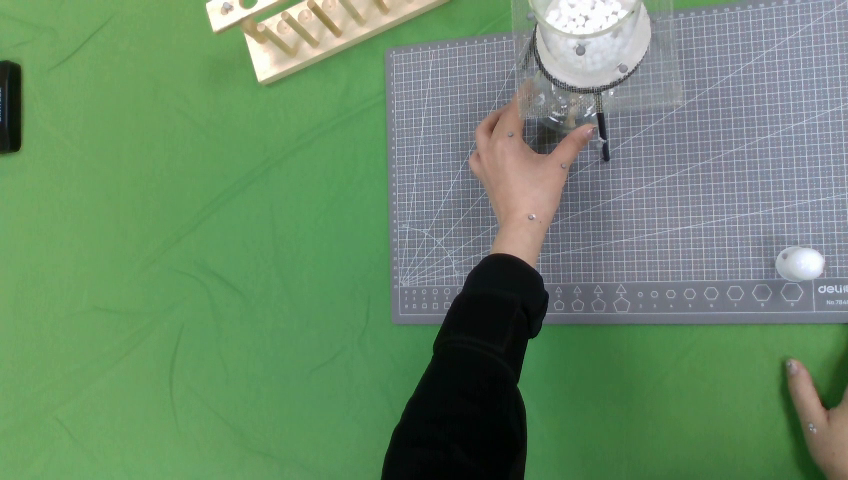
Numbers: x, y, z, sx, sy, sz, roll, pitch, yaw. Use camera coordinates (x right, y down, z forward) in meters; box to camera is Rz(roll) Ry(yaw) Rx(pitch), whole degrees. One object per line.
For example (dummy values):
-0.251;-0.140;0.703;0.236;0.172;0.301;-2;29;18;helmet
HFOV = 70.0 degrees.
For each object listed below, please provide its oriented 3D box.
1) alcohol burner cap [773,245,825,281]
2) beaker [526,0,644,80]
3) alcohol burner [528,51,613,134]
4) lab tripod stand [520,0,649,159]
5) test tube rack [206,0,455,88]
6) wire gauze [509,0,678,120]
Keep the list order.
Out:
0.328;0.019;0.527;0.034;0.048;0.034;-1;87;16;alcohol burner cap
0.112;-0.161;0.429;0.083;0.100;0.074;11;91;16;beaker
0.132;-0.139;0.551;0.077;0.119;0.078;-1;86;14;alcohol burner
0.148;-0.153;0.537;0.148;0.132;0.148;0;88;14;lab tripod stand
-0.097;-0.249;0.638;0.242;0.085;0.066;-20;82;14;test tube rack
0.130;-0.158;0.474;0.125;0.011;0.121;-3;90;13;wire gauze
